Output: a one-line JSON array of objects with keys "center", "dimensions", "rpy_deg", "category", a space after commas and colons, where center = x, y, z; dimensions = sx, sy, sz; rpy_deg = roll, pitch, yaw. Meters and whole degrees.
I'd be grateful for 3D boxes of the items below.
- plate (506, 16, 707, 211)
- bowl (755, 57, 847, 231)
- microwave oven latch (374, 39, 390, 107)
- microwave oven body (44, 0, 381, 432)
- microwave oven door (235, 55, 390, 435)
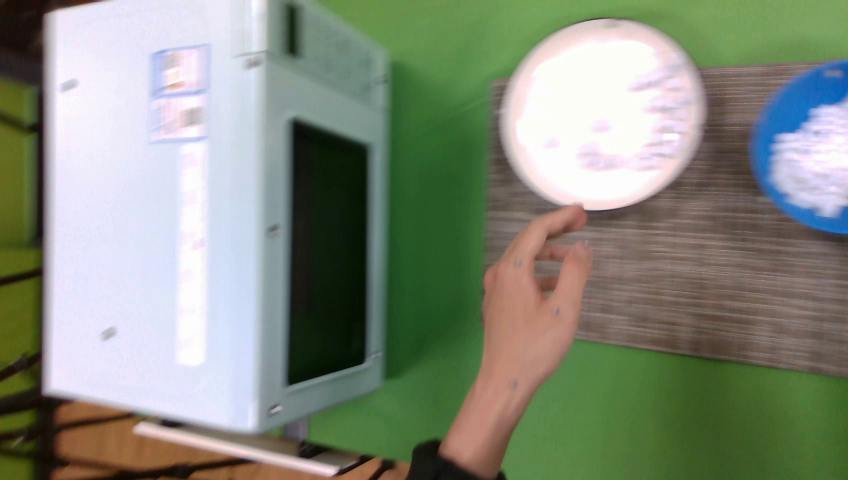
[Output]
[{"center": [0.194, -0.133, 0.656], "dimensions": [0.208, 0.038, 0.209], "rpy_deg": [-1, 88, 24], "category": "plate"}, {"center": [0.381, -0.080, 0.547], "dimensions": [0.150, 0.077, 0.151], "rpy_deg": [-1, 88, 25], "category": "bowl"}, {"center": [-0.059, -0.207, 0.758], "dimensions": [0.030, 0.029, 0.079], "rpy_deg": [3, 91, 24], "category": "microwave oven latch"}, {"center": [-0.241, -0.038, 0.731], "dimensions": [0.324, 0.261, 0.441], "rpy_deg": [2, 90, 24], "category": "microwave oven body"}, {"center": [-0.112, 0.008, 0.666], "dimensions": [0.039, 0.245, 0.355], "rpy_deg": [2, 89, 25], "category": "microwave oven door"}]
